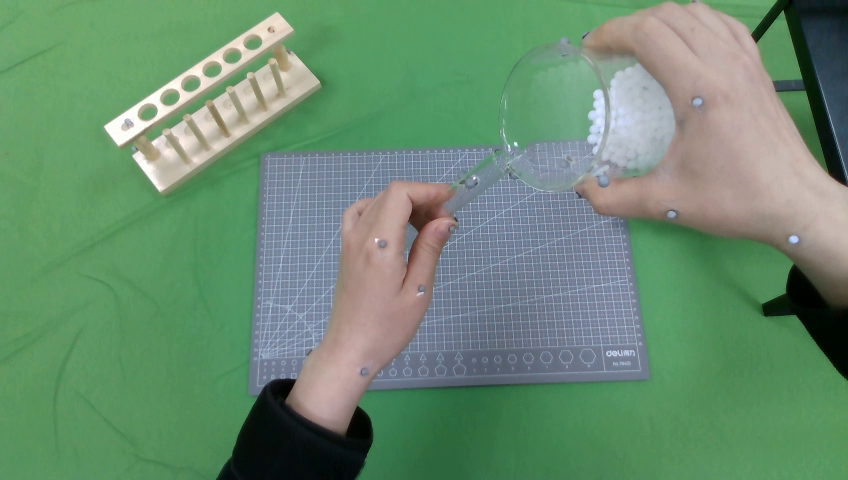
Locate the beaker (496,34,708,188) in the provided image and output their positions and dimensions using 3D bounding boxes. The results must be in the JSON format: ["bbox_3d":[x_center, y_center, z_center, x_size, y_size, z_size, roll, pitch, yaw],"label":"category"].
[{"bbox_3d":[0.100,-0.068,0.337,0.101,0.084,0.073,-10,72,-35],"label":"beaker"}]

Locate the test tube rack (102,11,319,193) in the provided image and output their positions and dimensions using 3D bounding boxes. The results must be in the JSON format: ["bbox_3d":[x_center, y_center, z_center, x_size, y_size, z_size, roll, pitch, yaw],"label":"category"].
[{"bbox_3d":[-0.251,-0.167,0.740,0.242,0.085,0.066,-38,76,-12],"label":"test tube rack"}]

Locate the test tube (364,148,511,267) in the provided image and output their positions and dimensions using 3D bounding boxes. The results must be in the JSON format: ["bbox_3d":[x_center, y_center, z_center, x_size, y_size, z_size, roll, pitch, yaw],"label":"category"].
[{"bbox_3d":[0.002,-0.016,0.393,0.017,0.150,0.017,19,55,-29],"label":"test tube"}]
